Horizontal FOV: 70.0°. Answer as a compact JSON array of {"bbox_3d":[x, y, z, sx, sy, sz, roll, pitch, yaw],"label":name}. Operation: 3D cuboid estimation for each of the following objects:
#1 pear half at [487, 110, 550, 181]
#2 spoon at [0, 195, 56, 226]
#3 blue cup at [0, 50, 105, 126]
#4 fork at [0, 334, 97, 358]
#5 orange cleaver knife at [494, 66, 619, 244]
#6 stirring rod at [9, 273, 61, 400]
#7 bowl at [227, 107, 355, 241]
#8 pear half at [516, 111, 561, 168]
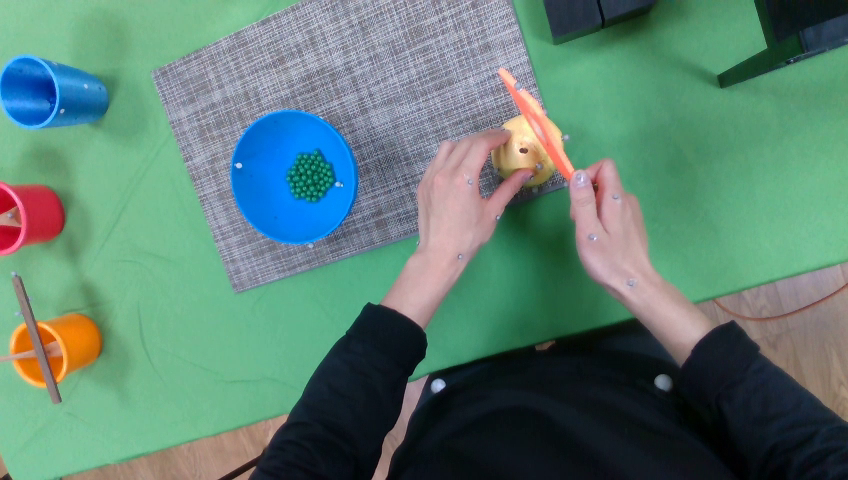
[{"bbox_3d":[0.094,-0.093,0.637,0.056,0.110,0.076,-37,84,18],"label":"pear half"},{"bbox_3d":[-0.590,-0.023,0.789,0.194,0.021,0.042,-16,98,-29],"label":"spoon"},{"bbox_3d":[-0.457,-0.184,0.753,0.092,0.100,0.093,2,100,11],"label":"blue cup"},{"bbox_3d":[-0.553,0.150,0.806,0.208,0.018,0.028,-5,112,-31],"label":"fork"},{"bbox_3d":[0.126,-0.075,0.568,0.012,0.076,0.213,-38,124,7],"label":"orange cleaver knife"},{"bbox_3d":[-0.508,0.127,0.791,0.014,0.006,0.176,-13,97,12],"label":"stirring rod"},{"bbox_3d":[-0.143,-0.078,0.710,0.151,0.077,0.152,2,100,13],"label":"bowl"},{"bbox_3d":[0.125,-0.113,0.638,0.031,0.088,0.070,-38,86,16],"label":"pear half"}]
